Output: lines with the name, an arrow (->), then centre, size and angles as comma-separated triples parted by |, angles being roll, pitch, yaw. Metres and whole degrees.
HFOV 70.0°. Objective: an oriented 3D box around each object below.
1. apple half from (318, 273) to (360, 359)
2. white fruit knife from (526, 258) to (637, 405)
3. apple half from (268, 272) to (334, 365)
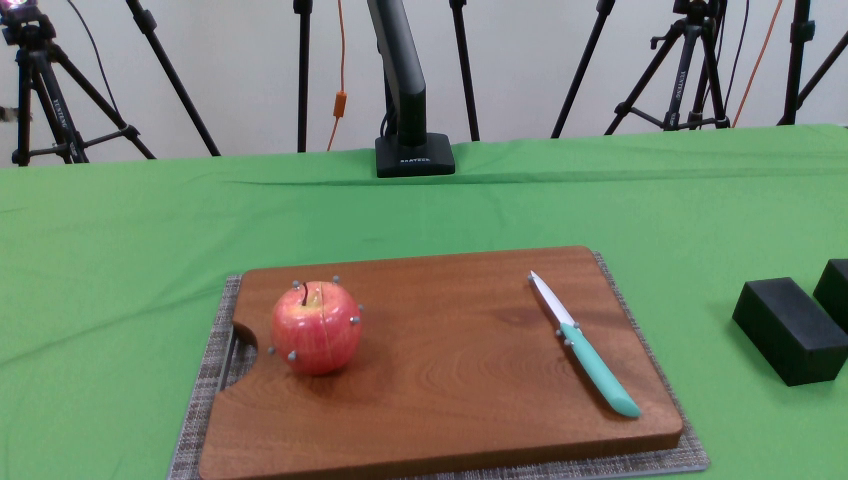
apple half -> -0.075, 0.068, 0.557 | 0.033, 0.082, 0.080 | -11, 38, -6
white fruit knife -> 0.142, 0.078, 0.590 | 0.027, 0.016, 0.205 | 16, 27, -28
apple half -> -0.113, 0.075, 0.552 | 0.053, 0.075, 0.080 | -11, 42, -6
